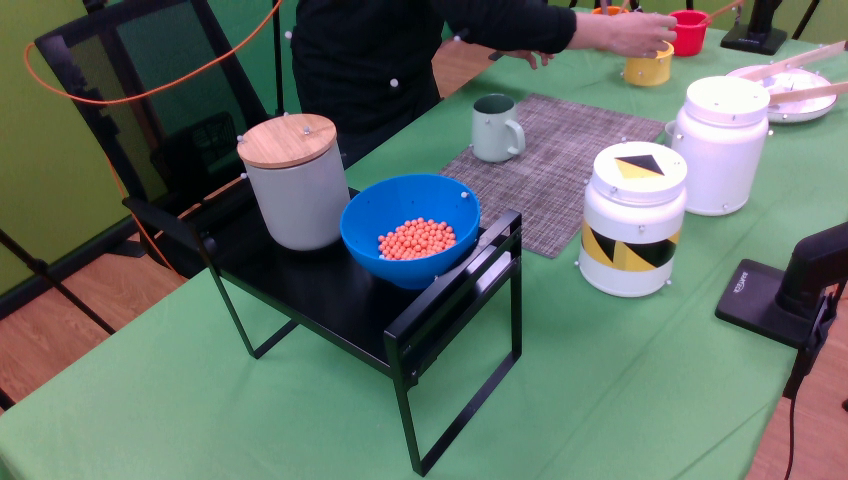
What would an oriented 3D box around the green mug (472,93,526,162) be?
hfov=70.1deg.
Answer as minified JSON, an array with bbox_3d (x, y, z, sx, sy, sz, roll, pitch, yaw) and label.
[{"bbox_3d":[0.144,-0.202,1.122,0.093,0.105,0.124,-29,45,-23],"label":"green mug"}]

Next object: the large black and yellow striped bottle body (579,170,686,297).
[{"bbox_3d":[0.287,-0.027,0.841,0.131,0.185,0.130,-4,40,4],"label":"large black and yellow striped bottle body"}]

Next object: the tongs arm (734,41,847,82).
[{"bbox_3d":[0.712,-0.332,1.194,0.386,0.026,0.050,-18,45,-16],"label":"tongs arm"}]

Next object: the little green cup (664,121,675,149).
[{"bbox_3d":[0.472,-0.188,1.113,0.061,0.039,0.061,-4,40,4],"label":"little green cup"}]

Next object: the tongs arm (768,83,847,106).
[{"bbox_3d":[0.738,-0.282,1.134,0.388,0.028,0.028,-9,47,-5],"label":"tongs arm"}]

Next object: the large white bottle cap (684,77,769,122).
[{"bbox_3d":[0.448,-0.209,0.897,0.115,0.018,0.114,-4,40,4],"label":"large white bottle cap"}]

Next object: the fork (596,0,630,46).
[{"bbox_3d":[0.481,-0.556,1.452,0.028,0.019,0.207,40,103,38],"label":"fork"}]

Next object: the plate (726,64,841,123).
[{"bbox_3d":[0.695,-0.282,1.189,0.207,0.039,0.206,-4,40,4],"label":"plate"}]

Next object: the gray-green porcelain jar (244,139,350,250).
[{"bbox_3d":[-0.144,-0.060,0.714,0.106,0.127,0.105,-4,41,4],"label":"gray-green porcelain jar"}]

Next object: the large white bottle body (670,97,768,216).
[{"bbox_3d":[0.458,-0.146,0.952,0.130,0.185,0.130,-4,40,4],"label":"large white bottle body"}]

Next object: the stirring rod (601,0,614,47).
[{"bbox_3d":[0.439,-0.552,1.463,0.014,0.006,0.175,-7,83,2],"label":"stirring rod"}]

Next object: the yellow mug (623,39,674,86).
[{"bbox_3d":[0.485,-0.398,1.334,0.100,0.064,0.130,-18,40,-11],"label":"yellow mug"}]

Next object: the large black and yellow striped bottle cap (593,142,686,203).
[{"bbox_3d":[0.280,-0.090,0.786,0.115,0.019,0.114,-5,41,5],"label":"large black and yellow striped bottle cap"}]

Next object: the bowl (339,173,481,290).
[{"bbox_3d":[-0.011,0.001,0.660,0.151,0.077,0.150,-5,40,5],"label":"bowl"}]

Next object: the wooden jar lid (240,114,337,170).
[{"bbox_3d":[-0.149,-0.106,0.673,0.108,0.021,0.108,-6,38,5],"label":"wooden jar lid"}]

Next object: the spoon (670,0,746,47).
[{"bbox_3d":[0.629,-0.485,1.350,0.022,0.193,0.042,47,54,-7],"label":"spoon"}]
